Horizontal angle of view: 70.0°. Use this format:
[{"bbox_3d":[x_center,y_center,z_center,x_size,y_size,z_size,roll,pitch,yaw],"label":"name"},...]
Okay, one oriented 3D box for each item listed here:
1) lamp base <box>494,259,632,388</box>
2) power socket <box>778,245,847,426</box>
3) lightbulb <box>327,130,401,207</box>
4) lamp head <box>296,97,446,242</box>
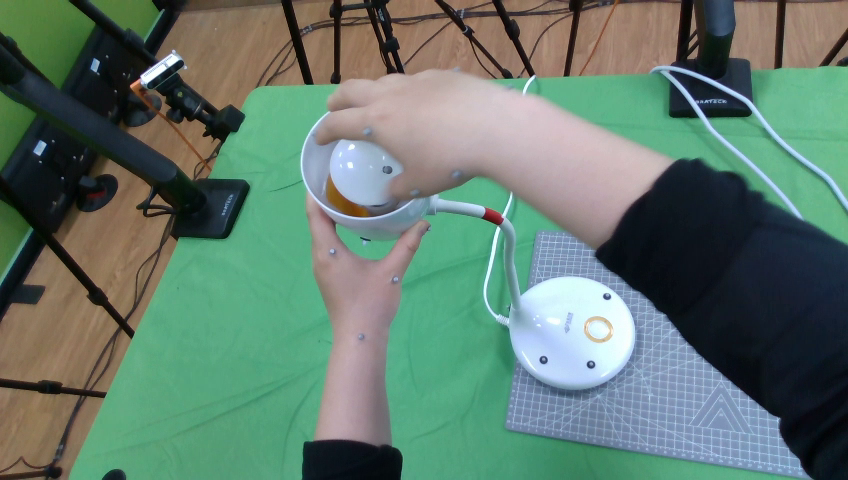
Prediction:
[{"bbox_3d":[0.159,0.078,0.740,0.178,0.182,0.159,-3,58,18],"label":"lamp base"},{"bbox_3d":[0.472,0.104,0.721,0.072,0.033,0.225,3,59,17],"label":"power socket"},{"bbox_3d":[-0.045,-0.053,0.508,0.059,0.108,0.059,-1,77,6],"label":"lightbulb"},{"bbox_3d":[-0.038,-0.047,0.533,0.112,0.124,0.111,-4,68,10],"label":"lamp head"}]
